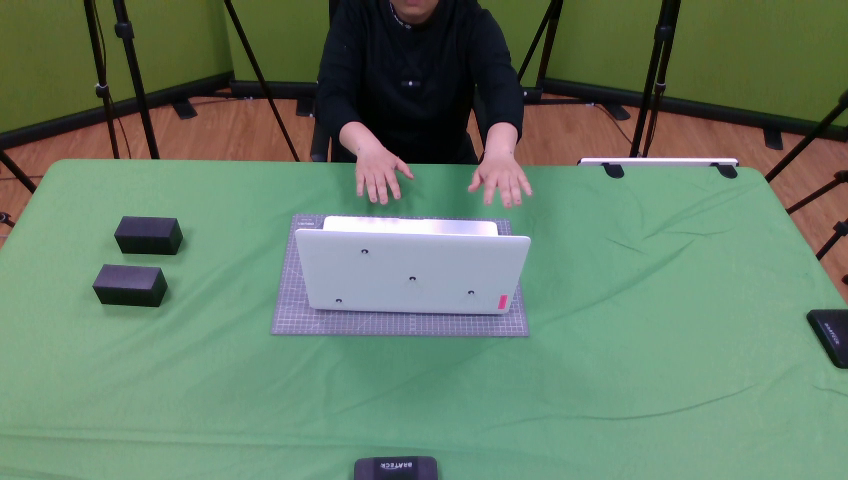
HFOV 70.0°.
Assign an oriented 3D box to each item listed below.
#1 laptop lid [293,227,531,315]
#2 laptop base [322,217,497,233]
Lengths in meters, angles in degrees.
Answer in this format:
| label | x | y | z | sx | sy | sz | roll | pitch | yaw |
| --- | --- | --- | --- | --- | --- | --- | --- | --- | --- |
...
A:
| label | x | y | z | sx | sy | sz | roll | pitch | yaw |
| --- | --- | --- | --- | --- | --- | --- | --- | --- | --- |
| laptop lid | -0.021 | 0.058 | 0.975 | 0.357 | 0.243 | 0.013 | 3 | 53 | -4 |
| laptop base | -0.028 | 0.045 | 1.154 | 0.354 | 0.023 | 0.234 | 2 | 43 | -3 |
